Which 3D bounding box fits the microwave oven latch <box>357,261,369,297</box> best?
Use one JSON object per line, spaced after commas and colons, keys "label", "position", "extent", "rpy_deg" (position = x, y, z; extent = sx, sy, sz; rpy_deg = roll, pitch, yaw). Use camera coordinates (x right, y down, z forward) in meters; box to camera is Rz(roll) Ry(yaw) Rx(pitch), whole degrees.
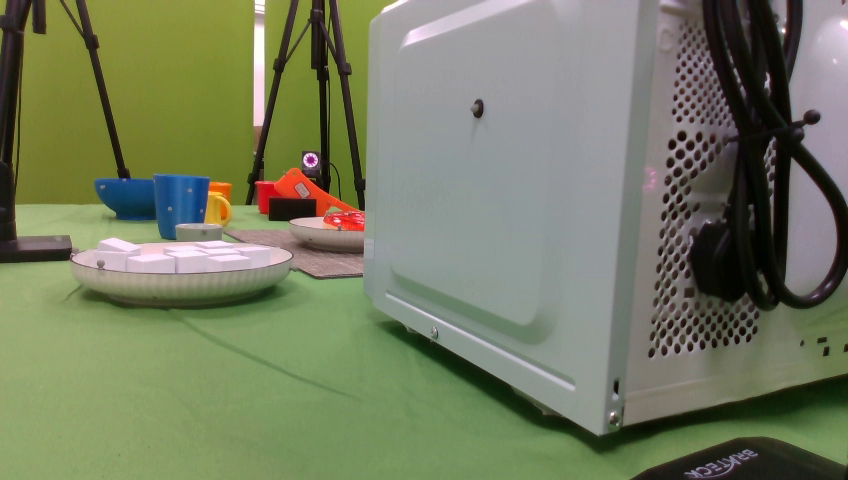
{"label": "microwave oven latch", "position": [-0.019, 0.033, 0.531], "extent": [0.079, 0.029, 0.030], "rpy_deg": [-1, 7, -27]}

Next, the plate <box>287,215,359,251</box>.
{"label": "plate", "position": [-0.111, -0.012, 0.960], "extent": [0.209, 0.038, 0.209], "rpy_deg": [3, 8, 0]}

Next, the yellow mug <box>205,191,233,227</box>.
{"label": "yellow mug", "position": [-0.415, -0.057, 1.132], "extent": [0.130, 0.064, 0.100], "rpy_deg": [6, 8, 16]}

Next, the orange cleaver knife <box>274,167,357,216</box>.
{"label": "orange cleaver knife", "position": [-0.238, -0.091, 1.381], "extent": [0.212, 0.077, 0.012], "rpy_deg": [31, 0, -19]}

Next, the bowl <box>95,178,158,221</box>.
{"label": "bowl", "position": [-0.576, -0.081, 1.217], "extent": [0.151, 0.077, 0.151], "rpy_deg": [3, 8, 0]}

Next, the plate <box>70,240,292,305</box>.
{"label": "plate", "position": [-0.242, 0.031, 0.618], "extent": [0.208, 0.039, 0.207], "rpy_deg": [2, 8, 0]}

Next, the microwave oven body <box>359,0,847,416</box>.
{"label": "microwave oven body", "position": [0.211, -0.047, 0.474], "extent": [0.444, 0.260, 0.324], "rpy_deg": [-1, 7, -28]}

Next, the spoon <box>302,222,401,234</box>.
{"label": "spoon", "position": [-0.127, -0.024, 1.105], "extent": [0.195, 0.021, 0.041], "rpy_deg": [-3, -14, -31]}

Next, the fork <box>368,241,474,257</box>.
{"label": "fork", "position": [0.004, 0.012, 0.885], "extent": [0.208, 0.018, 0.028], "rpy_deg": [-7, -3, -45]}

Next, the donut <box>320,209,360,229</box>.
{"label": "donut", "position": [-0.115, -0.023, 0.962], "extent": [0.099, 0.048, 0.099], "rpy_deg": [5, 8, 0]}

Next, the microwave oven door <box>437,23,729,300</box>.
{"label": "microwave oven door", "position": [0.181, -0.072, 0.621], "extent": [0.358, 0.243, 0.039], "rpy_deg": [-2, 9, -29]}

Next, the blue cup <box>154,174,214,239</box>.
{"label": "blue cup", "position": [-0.390, -0.053, 0.978], "extent": [0.093, 0.100, 0.092], "rpy_deg": [3, 6, 0]}

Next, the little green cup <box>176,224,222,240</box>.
{"label": "little green cup", "position": [-0.312, -0.001, 0.842], "extent": [0.061, 0.038, 0.061], "rpy_deg": [2, 8, 0]}
